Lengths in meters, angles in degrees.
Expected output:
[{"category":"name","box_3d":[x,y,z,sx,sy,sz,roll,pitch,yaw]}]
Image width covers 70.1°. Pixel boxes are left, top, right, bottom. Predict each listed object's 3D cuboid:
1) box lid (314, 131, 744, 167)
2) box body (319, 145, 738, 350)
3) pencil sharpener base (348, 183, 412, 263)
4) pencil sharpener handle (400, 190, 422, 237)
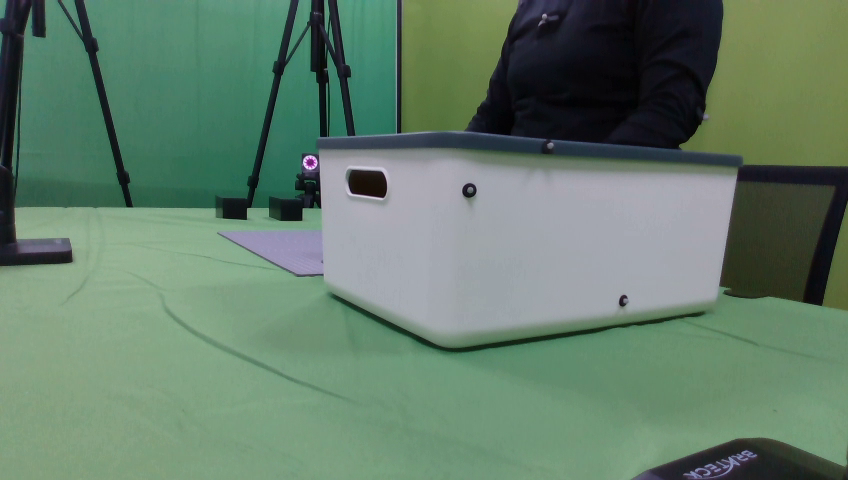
[{"category":"box lid","box_3d":[0.101,-0.085,0.602,0.373,0.015,0.262,-2,8,-32]},{"category":"box body","box_3d":[0.100,-0.013,0.611,0.366,0.160,0.253,-2,8,-32]},{"category":"pencil sharpener base","box_3d":[-0.059,-0.024,0.846,0.077,0.107,0.061,-1,7,-30]},{"category":"pencil sharpener handle","box_3d":[-0.016,-0.038,0.872,0.031,0.067,0.036,-1,16,-30]}]
